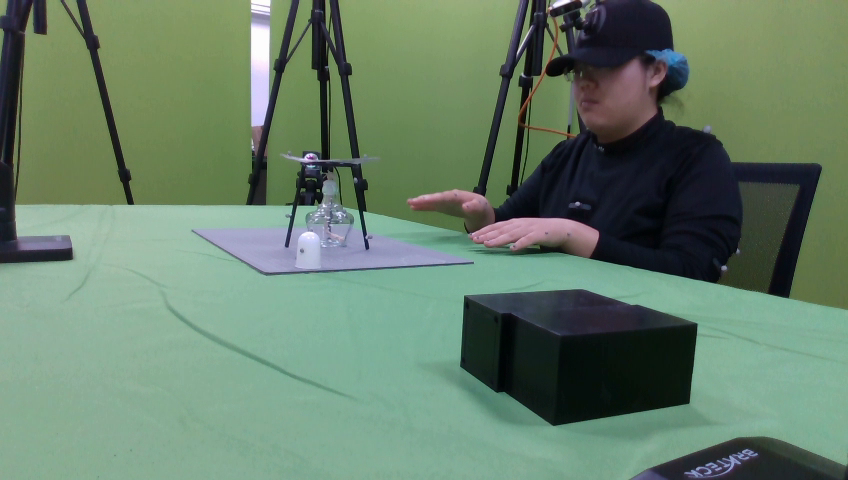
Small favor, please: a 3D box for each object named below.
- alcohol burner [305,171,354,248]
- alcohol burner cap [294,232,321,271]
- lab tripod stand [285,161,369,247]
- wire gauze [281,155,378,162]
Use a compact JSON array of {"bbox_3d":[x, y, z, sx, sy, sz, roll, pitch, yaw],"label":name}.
[{"bbox_3d":[-0.148,-0.048,0.949,0.078,0.119,0.078,1,6,0],"label":"alcohol burner"},{"bbox_3d":[-0.144,0.013,0.748,0.034,0.048,0.034,3,6,0],"label":"alcohol burner cap"},{"bbox_3d":[-0.151,-0.058,0.947,0.148,0.131,0.148,1,6,0],"label":"lab tripod stand"},{"bbox_3d":[-0.147,-0.124,0.936,0.122,0.011,0.124,-2,7,-31],"label":"wire gauze"}]
